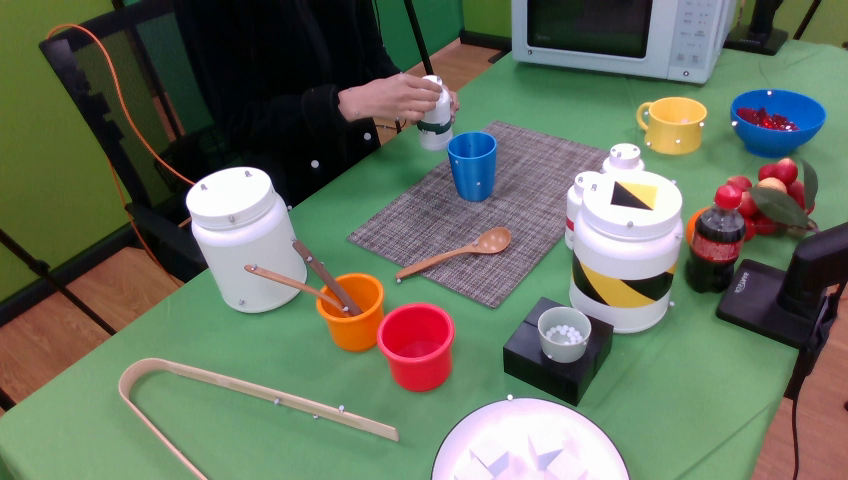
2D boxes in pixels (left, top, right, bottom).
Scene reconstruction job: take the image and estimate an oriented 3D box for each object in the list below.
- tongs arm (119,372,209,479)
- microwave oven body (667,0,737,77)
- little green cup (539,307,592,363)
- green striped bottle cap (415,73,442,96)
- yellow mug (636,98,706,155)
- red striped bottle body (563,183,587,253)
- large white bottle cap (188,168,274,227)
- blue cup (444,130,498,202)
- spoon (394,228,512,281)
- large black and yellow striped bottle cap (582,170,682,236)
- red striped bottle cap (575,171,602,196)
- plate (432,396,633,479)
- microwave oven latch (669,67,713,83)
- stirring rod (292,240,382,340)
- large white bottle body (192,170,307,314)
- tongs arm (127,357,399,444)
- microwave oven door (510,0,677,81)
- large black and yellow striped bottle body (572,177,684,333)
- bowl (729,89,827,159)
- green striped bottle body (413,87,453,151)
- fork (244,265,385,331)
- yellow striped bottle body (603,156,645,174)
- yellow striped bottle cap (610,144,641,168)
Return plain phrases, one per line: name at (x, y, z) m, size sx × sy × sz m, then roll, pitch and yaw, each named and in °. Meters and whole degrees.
tongs arm at (-0.258, 0.257, 0.700) m, size 0.384 × 0.028 × 0.028 m, roll 24°, pitch 55°, yaw 34°
microwave oven body at (0.462, -0.552, 1.369) m, size 0.439 × 0.261 × 0.326 m, roll 15°, pitch 45°, yaw 26°
little green cup at (0.168, 0.115, 0.721) m, size 0.061 × 0.039 × 0.061 m, roll -4°, pitch 42°, yaw 4°
green striped bottle cap at (0.007, -0.258, 1.019) m, size 0.044 × 0.020 × 0.044 m, roll -2°, pitch 66°, yaw 5°
yellow mug at (0.453, -0.217, 1.128) m, size 0.100 × 0.064 × 0.129 m, roll -34°, pitch 46°, yaw -27°
red striped bottle body at (0.246, -0.041, 0.910) m, size 0.063 × 0.120 × 0.062 m, roll -2°, pitch 38°, yaw 2°
large white bottle cap at (-0.264, -0.061, 0.831) m, size 0.115 × 0.018 × 0.114 m, roll -4°, pitch 40°, yaw 4°
blue cup at (0.087, -0.123, 1.040) m, size 0.092 × 0.100 × 0.092 m, roll -5°, pitch 42°, yaw 5°
spoon at (0.045, 0.024, 0.935) m, size 0.194 × 0.022 × 0.041 m, roll -18°, pitch 66°, yaw -11°
large black and yellow striped bottle cap at (0.252, -0.048, 0.735) m, size 0.115 × 0.019 × 0.114 m, roll -3°, pitch 40°, yaw 3°
red striped bottle cap at (0.242, -0.081, 0.876) m, size 0.044 × 0.018 × 0.044 m, roll -5°, pitch 44°, yaw 5°
plate at (0.112, 0.261, 0.634) m, size 0.209 × 0.038 × 0.208 m, roll -5°, pitch 40°, yaw 4°
microwave oven latch at (0.556, -0.348, 1.261) m, size 0.078 × 0.029 × 0.030 m, roll 16°, pitch 46°, yaw 27°
stirring rod at (-0.119, 0.068, 0.825) m, size 0.176 × 0.006 × 0.014 m, roll 49°, pitch 58°, yaw -4°
large white bottle body at (-0.256, 0.003, 0.885) m, size 0.130 × 0.185 × 0.130 m, roll -4°, pitch 40°, yaw 4°
tongs arm at (-0.213, 0.205, 0.755) m, size 0.382 × 0.026 × 0.051 m, roll 12°, pitch 46°, yaw 23°
microwave oven door at (0.354, -0.478, 1.290) m, size 0.353 × 0.245 × 0.039 m, roll 15°, pitch 45°, yaw 25°
large black and yellow striped bottle body at (0.262, 0.017, 0.788) m, size 0.131 × 0.185 × 0.130 m, roll -5°, pitch 40°, yaw 4°
bowl at (0.615, -0.197, 1.069) m, size 0.151 × 0.077 × 0.150 m, roll -5°, pitch 40°, yaw 5°
green striped bottle body at (0.015, -0.220, 1.056) m, size 0.063 × 0.120 × 0.063 m, roll -4°, pitch 50°, yaw 5°
fork at (-0.142, 0.078, 0.806) m, size 0.209 × 0.018 × 0.028 m, roll 30°, pitch 32°, yaw -23°
yellow striped bottle body at (0.313, -0.089, 0.956) m, size 0.063 × 0.121 × 0.062 m, roll -5°, pitch 39°, yaw 4°
yellow striped bottle cap at (0.307, -0.128, 0.923) m, size 0.044 × 0.019 × 0.044 m, roll -6°, pitch 40°, yaw 5°
